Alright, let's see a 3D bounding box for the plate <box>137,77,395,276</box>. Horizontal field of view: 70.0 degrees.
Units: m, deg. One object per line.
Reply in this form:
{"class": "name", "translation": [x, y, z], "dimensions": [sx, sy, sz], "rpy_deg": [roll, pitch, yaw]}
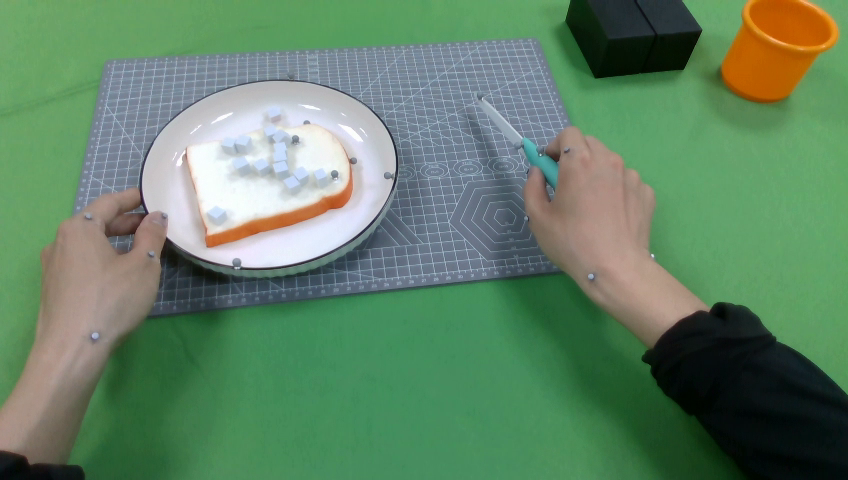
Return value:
{"class": "plate", "translation": [-0.128, -0.054, 0.512], "dimensions": [0.209, 0.038, 0.207], "rpy_deg": [2, 56, -3]}

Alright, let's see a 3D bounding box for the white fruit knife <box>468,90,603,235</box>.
{"class": "white fruit knife", "translation": [0.087, -0.078, 0.522], "dimensions": [0.016, 0.028, 0.205], "rpy_deg": [-27, 49, -10]}

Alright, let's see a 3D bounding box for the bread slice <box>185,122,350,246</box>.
{"class": "bread slice", "translation": [-0.131, -0.057, 0.517], "dimensions": [0.132, 0.019, 0.104], "rpy_deg": [-19, 59, -15]}
